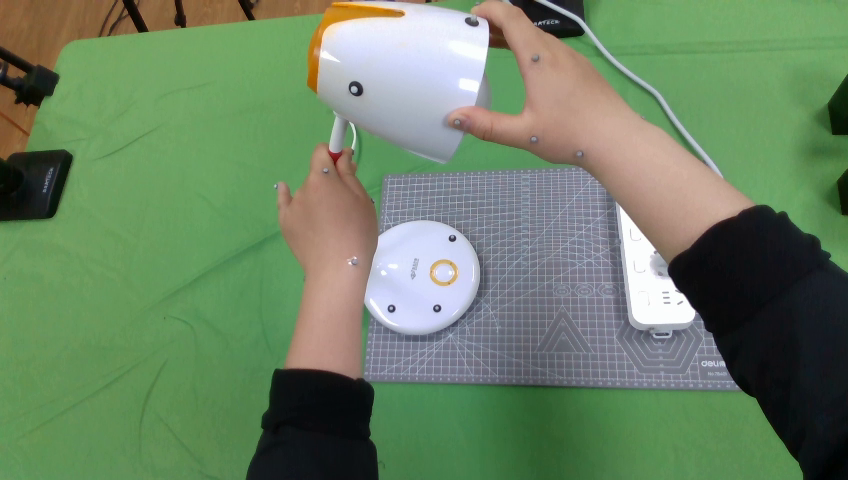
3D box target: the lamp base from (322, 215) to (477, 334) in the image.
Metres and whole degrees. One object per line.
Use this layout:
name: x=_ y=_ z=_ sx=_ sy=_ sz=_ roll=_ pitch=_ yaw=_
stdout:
lamp base: x=-0.038 y=0.016 z=0.725 sx=0.179 sy=0.182 sz=0.159 roll=-6 pitch=65 yaw=12

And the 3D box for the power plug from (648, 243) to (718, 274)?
power plug: x=0.303 y=0.025 z=0.716 sx=0.072 sy=0.053 sz=0.035 roll=8 pitch=70 yaw=11

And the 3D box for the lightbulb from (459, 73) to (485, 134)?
lightbulb: x=-0.006 y=-0.116 z=0.452 sx=0.108 sy=0.059 sz=0.059 roll=21 pitch=70 yaw=-9

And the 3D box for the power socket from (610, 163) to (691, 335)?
power socket: x=0.278 y=0.004 z=0.751 sx=0.072 sy=0.033 sz=0.225 roll=-3 pitch=66 yaw=9

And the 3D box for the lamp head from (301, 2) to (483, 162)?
lamp head: x=-0.030 y=-0.123 z=0.455 sx=0.123 sy=0.113 sz=0.111 roll=10 pitch=67 yaw=-8
